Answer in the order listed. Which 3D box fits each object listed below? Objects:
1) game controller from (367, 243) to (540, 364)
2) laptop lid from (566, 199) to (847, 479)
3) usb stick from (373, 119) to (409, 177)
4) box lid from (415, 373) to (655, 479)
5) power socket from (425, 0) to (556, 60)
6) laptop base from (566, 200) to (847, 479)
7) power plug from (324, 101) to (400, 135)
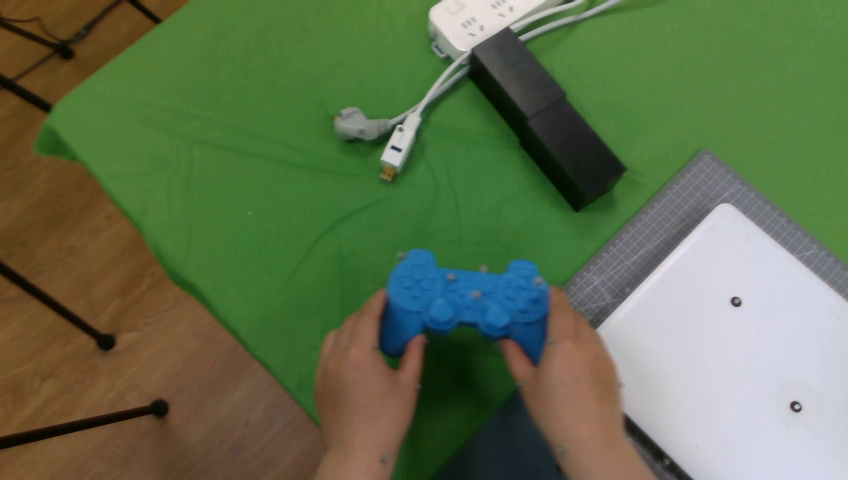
[{"bbox_3d":[0.030,0.055,0.539,0.155,0.052,0.096,6,73,-2],"label":"game controller"},{"bbox_3d":[0.336,0.152,0.563,0.241,0.013,0.355,-42,78,-9],"label":"laptop lid"},{"bbox_3d":[-0.037,-0.096,0.641,0.021,0.027,0.059,24,82,-2],"label":"usb stick"},{"bbox_3d":[0.137,0.327,0.529,0.263,0.015,0.370,-43,78,-11],"label":"box lid"},{"bbox_3d":[0.100,-0.286,0.695,0.227,0.033,0.072,-35,77,-10],"label":"power socket"},{"bbox_3d":[0.338,0.154,0.575,0.235,0.023,0.352,-44,79,-8],"label":"laptop base"},{"bbox_3d":[-0.070,-0.133,0.658,0.073,0.035,0.052,-13,44,-39],"label":"power plug"}]
